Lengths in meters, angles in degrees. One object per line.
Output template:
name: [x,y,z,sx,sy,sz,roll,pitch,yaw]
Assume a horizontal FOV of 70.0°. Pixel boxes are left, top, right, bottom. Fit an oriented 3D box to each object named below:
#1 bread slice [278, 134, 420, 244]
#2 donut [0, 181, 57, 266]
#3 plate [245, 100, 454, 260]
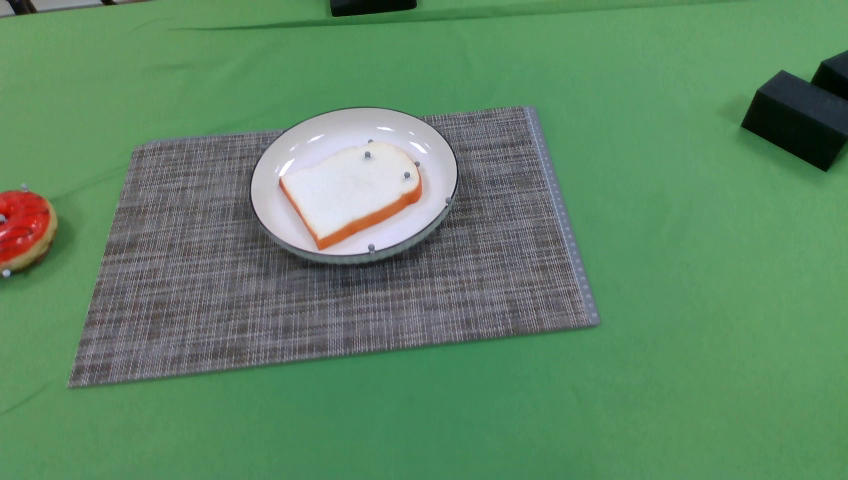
bread slice: [-0.073,-0.062,0.618,0.131,0.019,0.104,-28,57,-16]
donut: [-0.416,-0.017,0.599,0.099,0.049,0.098,-3,53,4]
plate: [-0.073,-0.060,0.614,0.207,0.039,0.205,-1,53,2]
